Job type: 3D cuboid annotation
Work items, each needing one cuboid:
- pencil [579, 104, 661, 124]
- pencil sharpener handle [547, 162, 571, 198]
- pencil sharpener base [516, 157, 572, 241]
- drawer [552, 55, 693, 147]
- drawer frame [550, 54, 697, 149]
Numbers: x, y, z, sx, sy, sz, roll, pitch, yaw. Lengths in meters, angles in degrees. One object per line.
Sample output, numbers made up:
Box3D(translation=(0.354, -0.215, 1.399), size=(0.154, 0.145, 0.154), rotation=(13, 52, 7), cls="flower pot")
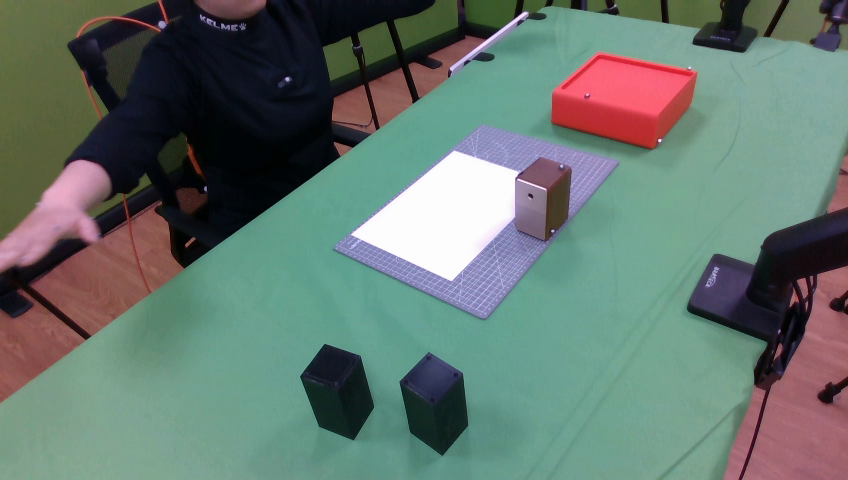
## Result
Box3D(translation=(0.395, -0.255, 1.212), size=(0.195, 0.012, 0.012), rotation=(-15, 40, -16), cls="pencil")
Box3D(translation=(0.221, -0.101, 0.968), size=(0.035, 0.068, 0.031), rotation=(19, 46, 37), cls="pencil sharpener handle")
Box3D(translation=(0.189, -0.065, 0.948), size=(0.061, 0.107, 0.077), rotation=(24, 49, 33), cls="pencil sharpener base")
Box3D(translation=(0.389, -0.279, 1.196), size=(0.210, 0.073, 0.195), rotation=(24, 49, 31), cls="drawer")
Box3D(translation=(0.391, -0.280, 1.194), size=(0.212, 0.083, 0.202), rotation=(23, 48, 30), cls="drawer frame")
